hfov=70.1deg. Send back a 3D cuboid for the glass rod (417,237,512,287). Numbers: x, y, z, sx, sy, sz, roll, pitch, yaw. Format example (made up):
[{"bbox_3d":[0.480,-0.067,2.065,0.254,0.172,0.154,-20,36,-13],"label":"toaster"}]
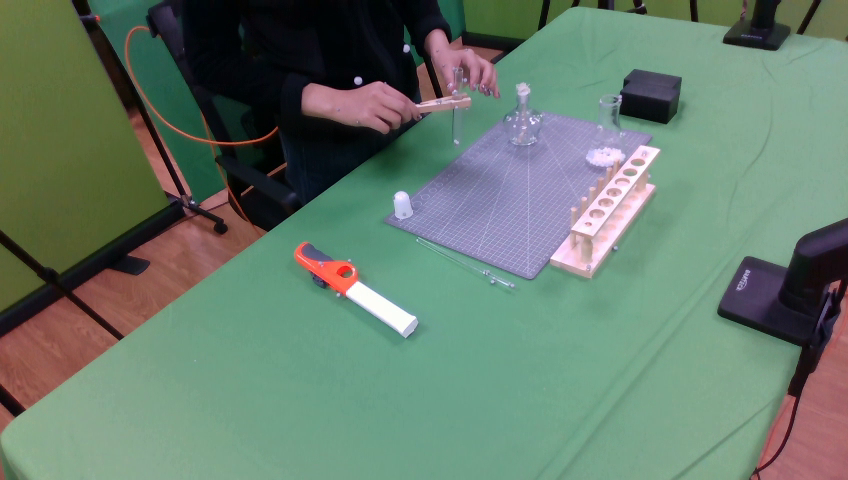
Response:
[{"bbox_3d":[0.059,0.033,0.945,0.198,0.008,0.008,26,52,38],"label":"glass rod"}]

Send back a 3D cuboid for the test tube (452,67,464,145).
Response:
[{"bbox_3d":[0.058,-0.228,1.048,0.017,0.151,0.017,0,44,1],"label":"test tube"}]

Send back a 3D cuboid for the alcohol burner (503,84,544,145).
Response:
[{"bbox_3d":[0.191,-0.244,1.160,0.078,0.119,0.077,-4,40,4],"label":"alcohol burner"}]

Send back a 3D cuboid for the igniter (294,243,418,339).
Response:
[{"bbox_3d":[-0.114,0.070,0.919,0.274,0.025,0.057,30,63,37],"label":"igniter"}]

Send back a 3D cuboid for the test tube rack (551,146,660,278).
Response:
[{"bbox_3d":[0.286,-0.053,0.943,0.066,0.085,0.243,21,49,32],"label":"test tube rack"}]

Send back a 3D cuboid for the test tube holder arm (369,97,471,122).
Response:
[{"bbox_3d":[-0.006,-0.221,1.018,0.179,0.015,0.013,-13,41,-15],"label":"test tube holder arm"}]

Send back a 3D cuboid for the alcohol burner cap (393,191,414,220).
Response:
[{"bbox_3d":[-0.037,-0.062,1.045,0.034,0.048,0.033,-5,41,5],"label":"alcohol burner cap"}]

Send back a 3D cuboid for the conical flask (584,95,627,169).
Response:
[{"bbox_3d":[0.324,-0.192,1.066,0.075,0.122,0.075,-6,40,5],"label":"conical flask"}]

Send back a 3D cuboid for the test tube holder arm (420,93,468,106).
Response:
[{"bbox_3d":[0.034,-0.235,1.035,0.088,0.015,0.010,-18,43,-20],"label":"test tube holder arm"}]
